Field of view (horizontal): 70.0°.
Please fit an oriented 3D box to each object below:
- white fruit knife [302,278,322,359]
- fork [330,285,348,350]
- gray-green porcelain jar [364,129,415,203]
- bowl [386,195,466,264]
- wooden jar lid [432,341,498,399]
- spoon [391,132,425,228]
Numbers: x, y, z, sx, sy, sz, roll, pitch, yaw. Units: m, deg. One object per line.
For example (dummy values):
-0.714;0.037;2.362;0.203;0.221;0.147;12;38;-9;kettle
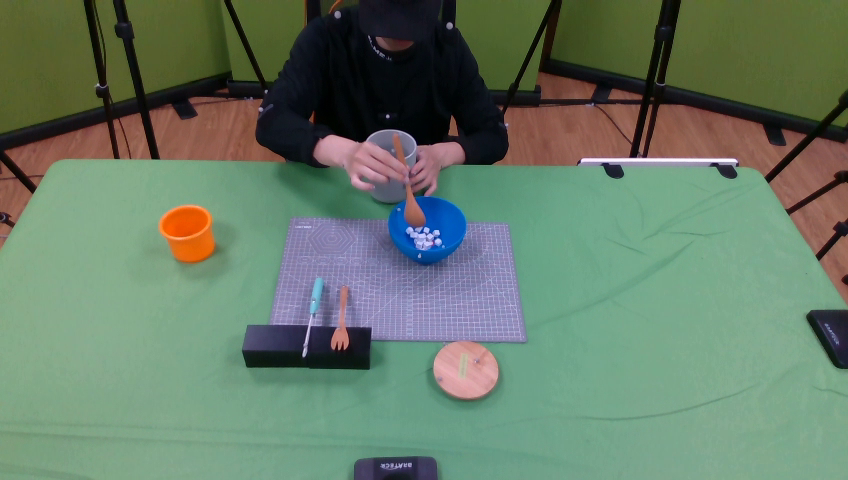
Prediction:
-0.189;0.126;1.020;0.016;0.027;0.206;0;33;-2;white fruit knife
-0.140;0.127;1.021;0.028;0.019;0.206;-3;28;-3;fork
-0.073;-0.149;1.264;0.106;0.127;0.105;3;46;-2;gray-green porcelain jar
0.002;-0.007;1.162;0.151;0.077;0.150;2;46;-2;bowl
0.067;0.216;0.997;0.108;0.021;0.107;1;46;-1;wooden jar lid
-0.034;-0.103;1.084;0.041;0.194;0.021;-2;29;21;spoon
